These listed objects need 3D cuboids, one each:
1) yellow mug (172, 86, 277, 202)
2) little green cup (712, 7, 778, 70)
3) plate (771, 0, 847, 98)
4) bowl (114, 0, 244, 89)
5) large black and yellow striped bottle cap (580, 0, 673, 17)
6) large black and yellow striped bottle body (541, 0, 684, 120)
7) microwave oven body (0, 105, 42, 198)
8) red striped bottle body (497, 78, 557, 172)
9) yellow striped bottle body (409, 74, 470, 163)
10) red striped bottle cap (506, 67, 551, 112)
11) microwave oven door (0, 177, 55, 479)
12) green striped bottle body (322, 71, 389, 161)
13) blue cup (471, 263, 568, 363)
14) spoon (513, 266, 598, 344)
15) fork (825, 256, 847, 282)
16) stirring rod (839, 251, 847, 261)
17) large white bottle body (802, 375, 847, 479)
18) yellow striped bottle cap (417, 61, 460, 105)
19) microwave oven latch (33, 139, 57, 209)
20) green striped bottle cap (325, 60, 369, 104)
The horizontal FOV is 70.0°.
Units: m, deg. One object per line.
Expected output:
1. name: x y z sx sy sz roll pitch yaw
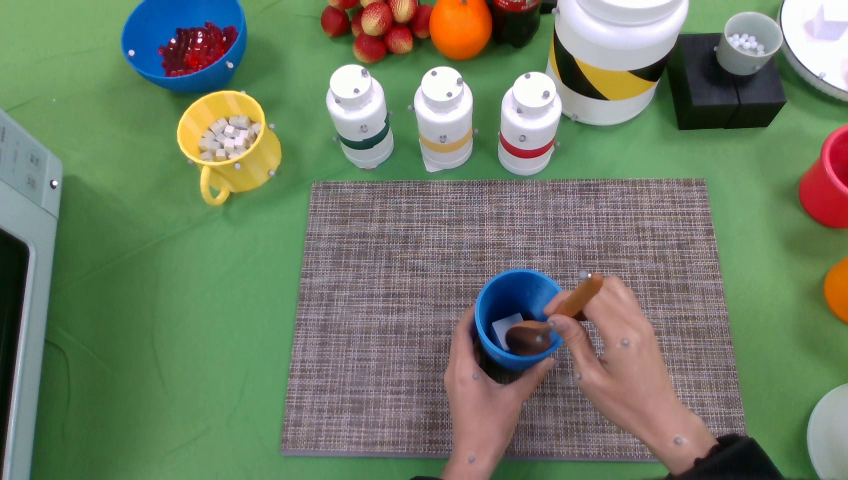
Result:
1. yellow mug: -0.233 -0.105 0.699 0.100 0.064 0.130 9 69 7
2. little green cup: 0.351 -0.220 0.670 0.061 0.039 0.061 -1 66 2
3. plate: 0.521 -0.249 0.726 0.209 0.038 0.207 -1 68 3
4. bowl: -0.290 -0.243 0.753 0.151 0.077 0.150 -1 68 3
5. large black and yellow striped bottle cap: 0.195 -0.265 0.583 0.115 0.019 0.114 -2 66 4
6. large black and yellow striped bottle body: 0.201 -0.233 0.661 0.131 0.185 0.130 -1 67 4
7. microwave oven body: -0.571 0.072 0.539 0.326 0.262 0.438 -9 68 0
8. red striped bottle body: 0.111 -0.131 0.659 0.063 0.121 0.062 -3 65 7
9. yellow striped bottle body: 0.018 -0.141 0.668 0.063 0.121 0.062 -2 67 4
10. red striped bottle cap: 0.106 -0.152 0.611 0.044 0.018 0.044 0 66 -1
11. microwave oven door: -0.422 0.086 0.518 0.039 0.245 0.353 -9 67 1
12. green striped bottle body: -0.076 -0.144 0.676 0.063 0.120 0.062 -1 67 3
13. blue cup: 0.087 0.079 0.581 0.092 0.101 0.092 -1 69 3
14. spoon: 0.100 0.058 0.485 0.041 0.194 0.021 26 70 3
15. fork: 0.469 0.050 0.545 0.028 0.019 0.205 -34 25 -15
16. stirring rod: 0.442 0.049 0.553 0.014 0.006 0.174 -6 24 0
17. large white bottle body: 0.413 0.155 0.485 0.130 0.186 0.129 -1 66 4
18. yellow striped bottle cap: 0.015 -0.161 0.621 0.044 0.019 0.044 -1 69 3
19. microwave oven latch: -0.444 -0.075 0.695 0.030 0.030 0.078 -7 68 1
20. green striped bottle cap: -0.080 -0.164 0.628 0.044 0.020 0.044 -1 66 3
